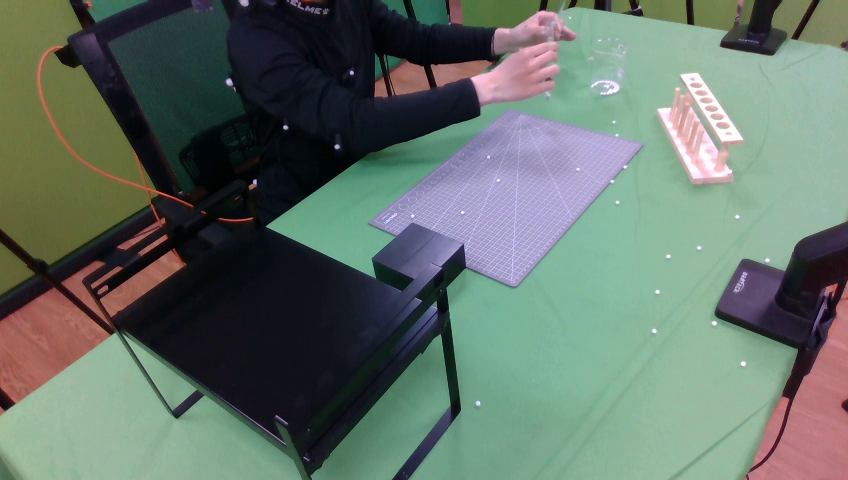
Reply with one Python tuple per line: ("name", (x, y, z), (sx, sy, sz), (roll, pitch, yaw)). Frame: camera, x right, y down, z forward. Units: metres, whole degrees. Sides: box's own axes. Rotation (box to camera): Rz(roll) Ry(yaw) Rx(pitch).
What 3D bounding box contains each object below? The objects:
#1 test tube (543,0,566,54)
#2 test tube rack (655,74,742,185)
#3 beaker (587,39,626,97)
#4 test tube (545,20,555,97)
("test tube", (0.280, -0.461, 1.298), (0.017, 0.151, 0.017), (3, 56, -4))
("test tube rack", (0.488, -0.205, 1.093), (0.067, 0.085, 0.241), (-3, 41, 5))
("beaker", (0.386, -0.361, 1.280), (0.074, 0.101, 0.083), (-22, 43, -15))
("test tube", (0.239, -0.342, 1.148), (0.017, 0.151, 0.017), (-5, 38, 4))
